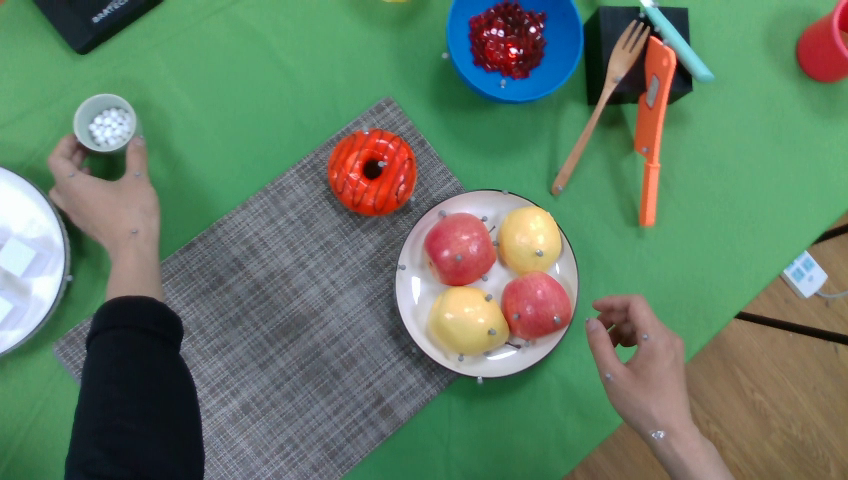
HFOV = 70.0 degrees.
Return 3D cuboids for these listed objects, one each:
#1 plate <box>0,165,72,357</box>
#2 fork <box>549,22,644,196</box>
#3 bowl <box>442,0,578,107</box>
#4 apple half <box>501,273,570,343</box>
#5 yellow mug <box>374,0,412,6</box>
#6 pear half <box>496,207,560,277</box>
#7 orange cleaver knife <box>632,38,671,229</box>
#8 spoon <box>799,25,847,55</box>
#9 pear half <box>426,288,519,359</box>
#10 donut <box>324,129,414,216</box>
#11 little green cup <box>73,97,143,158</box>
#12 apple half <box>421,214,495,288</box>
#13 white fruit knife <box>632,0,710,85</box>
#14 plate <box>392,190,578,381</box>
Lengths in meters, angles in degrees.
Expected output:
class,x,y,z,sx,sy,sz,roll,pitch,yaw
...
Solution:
class,x,y,z,sx,sy,sz,roll,pitch,yaw
plate,-0.463,0.023,0.613,0.208,0.039,0.207,1,85,-7
fork,0.191,-0.143,0.687,0.028,0.018,0.208,21,103,-13
bowl,0.089,-0.215,0.685,0.152,0.077,0.151,1,85,-7
apple half,0.117,0.076,0.661,0.081,0.033,0.081,1,96,14
yellow mug,-0.052,-0.333,0.683,0.131,0.064,0.099,19,83,-4
pear half,0.114,0.008,0.670,0.070,0.031,0.088,-6,99,17
orange cleaver knife,0.255,-0.119,0.695,0.012,0.076,0.212,-3,111,-2
spoon,0.539,-0.217,0.709,0.041,0.022,0.191,-45,47,-9
pear half,0.061,0.097,0.656,0.110,0.056,0.076,25,86,-9
donut,-0.060,-0.074,0.666,0.099,0.048,0.099,0,87,-5
little green cup,-0.332,-0.116,0.642,0.061,0.038,0.061,1,84,-5
apple half,0.038,0.012,0.657,0.075,0.053,0.081,-21,91,-8
white fruit knife,0.256,-0.259,0.692,0.027,0.016,0.207,-37,88,-38
plate,0.067,0.050,0.675,0.209,0.038,0.208,1,85,-7
